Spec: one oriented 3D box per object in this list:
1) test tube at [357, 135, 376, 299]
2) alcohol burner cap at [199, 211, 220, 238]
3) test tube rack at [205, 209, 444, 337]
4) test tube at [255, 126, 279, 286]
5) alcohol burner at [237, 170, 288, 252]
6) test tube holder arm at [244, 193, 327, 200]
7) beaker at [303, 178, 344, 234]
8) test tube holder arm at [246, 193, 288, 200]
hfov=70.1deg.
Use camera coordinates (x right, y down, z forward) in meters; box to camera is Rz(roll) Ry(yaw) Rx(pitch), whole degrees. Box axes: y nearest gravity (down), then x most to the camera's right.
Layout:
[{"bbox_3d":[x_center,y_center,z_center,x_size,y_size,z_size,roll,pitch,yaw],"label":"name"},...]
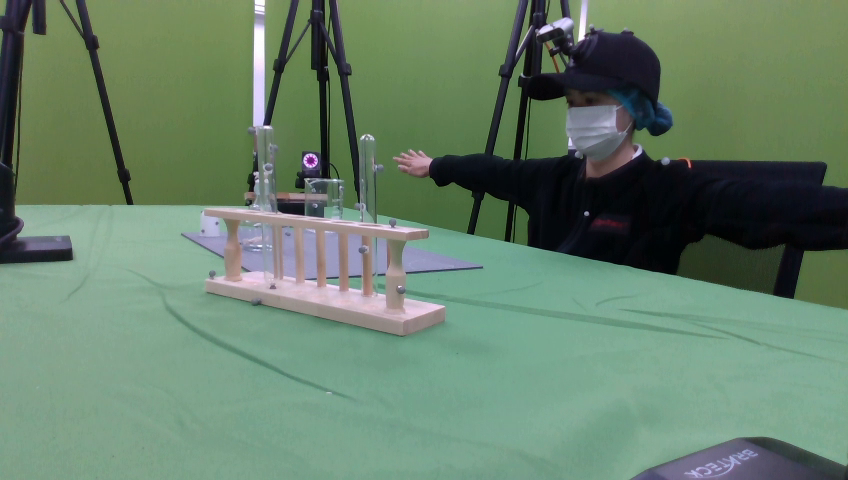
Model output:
[{"bbox_3d":[-0.053,-0.020,0.552,0.017,0.150,0.017,0,8,0],"label":"test tube"},{"bbox_3d":[-0.356,-0.027,1.002,0.034,0.048,0.034,3,7,0],"label":"alcohol burner cap"},{"bbox_3d":[-0.100,0.021,0.565,0.241,0.085,0.067,7,8,32],"label":"test tube rack"},{"bbox_3d":[-0.147,-0.031,0.567,0.017,0.150,0.017,-1,8,0],"label":"test tube"},{"bbox_3d":[-0.236,-0.042,0.882,0.078,0.119,0.078,2,9,0],"label":"alcohol burner"},{"bbox_3d":[-0.285,-0.090,1.258,0.179,0.015,0.013,-3,0,-37],"label":"test tube holder arm"},{"bbox_3d":[-0.189,-0.063,1.119,0.073,0.100,0.084,6,9,28],"label":"beaker"},{"bbox_3d":[-0.317,-0.088,1.226,0.088,0.015,0.010,-3,0,-37],"label":"test tube holder arm"}]
